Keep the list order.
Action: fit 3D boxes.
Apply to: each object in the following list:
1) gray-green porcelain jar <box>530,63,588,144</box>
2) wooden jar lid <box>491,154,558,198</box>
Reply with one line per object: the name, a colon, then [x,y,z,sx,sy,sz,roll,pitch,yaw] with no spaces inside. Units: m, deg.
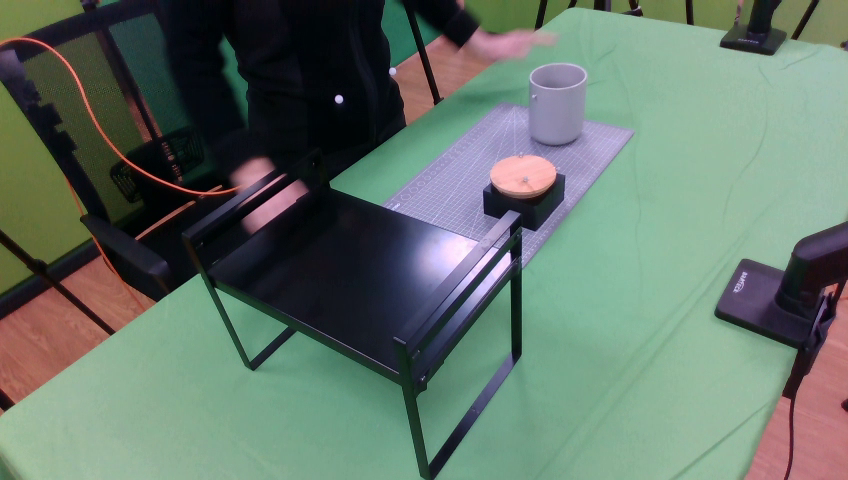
gray-green porcelain jar: [0.254,-0.255,1.151,0.106,0.127,0.105,-4,41,4]
wooden jar lid: [0.164,-0.104,0.994,0.108,0.021,0.108,-4,40,4]
